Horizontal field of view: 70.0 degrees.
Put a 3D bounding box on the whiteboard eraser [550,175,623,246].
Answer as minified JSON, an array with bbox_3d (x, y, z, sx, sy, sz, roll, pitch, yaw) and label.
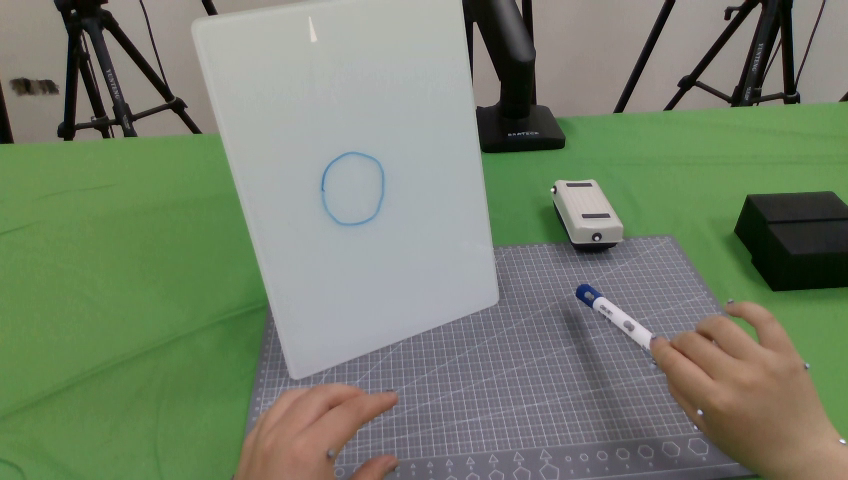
[{"bbox_3d":[0.185,-0.034,0.697,0.055,0.042,0.111,-4,35,-1],"label":"whiteboard eraser"}]

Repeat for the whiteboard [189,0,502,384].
[{"bbox_3d":[-0.070,-0.064,0.570,0.218,0.307,0.142,-18,22,-20],"label":"whiteboard"}]

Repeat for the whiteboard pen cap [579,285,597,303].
[{"bbox_3d":[0.158,0.052,0.579,0.018,0.018,0.033,15,-3,19],"label":"whiteboard pen cap"}]

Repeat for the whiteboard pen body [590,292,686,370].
[{"bbox_3d":[0.174,0.070,0.521,0.017,0.017,0.139,-12,23,-13],"label":"whiteboard pen body"}]
